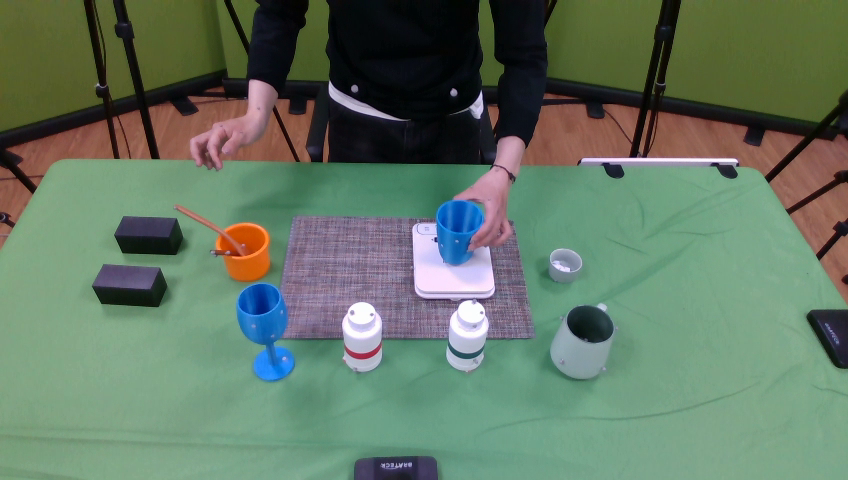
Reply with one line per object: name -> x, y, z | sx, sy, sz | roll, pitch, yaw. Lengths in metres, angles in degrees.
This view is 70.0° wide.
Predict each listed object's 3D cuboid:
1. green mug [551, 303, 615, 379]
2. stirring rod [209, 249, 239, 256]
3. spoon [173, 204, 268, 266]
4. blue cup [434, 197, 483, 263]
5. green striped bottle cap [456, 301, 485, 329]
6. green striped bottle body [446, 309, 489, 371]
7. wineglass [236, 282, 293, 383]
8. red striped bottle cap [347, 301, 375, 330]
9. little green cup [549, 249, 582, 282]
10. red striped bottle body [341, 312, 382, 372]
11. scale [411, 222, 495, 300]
green mug -> 0.271, 0.157, 1.007 | 0.092, 0.105, 0.125 | 27, 50, 21
stirring rod -> -0.343, 0.022, 1.060 | 0.014, 0.176, 0.006 | 22, 87, -2
spoon -> -0.363, -0.009, 1.089 | 0.021, 0.195, 0.041 | -40, 29, 14
blue cup -> 0.058, -0.011, 1.089 | 0.093, 0.101, 0.092 | 2, 49, -2
green striped bottle cap -> 0.073, 0.116, 0.943 | 0.044, 0.020, 0.044 | 3, 46, -3
green striped bottle body -> 0.070, 0.155, 0.984 | 0.063, 0.120, 0.063 | 2, 46, -2
wineglass -> -0.243, 0.143, 0.934 | 0.074, 0.173, 0.073 | 2, 46, -2
red striped bottle cap -> -0.097, 0.116, 0.934 | 0.044, 0.018, 0.044 | 2, 49, -2
little green cup -> 0.268, 0.050, 1.156 | 0.061, 0.039, 0.061 | 1, 44, -1
red striped bottle body -> -0.100, 0.154, 0.972 | 0.063, 0.120, 0.062 | 2, 46, -1
scale -> 0.052, 0.031, 1.158 | 0.149, 0.032, 0.199 | 1, 46, -4
